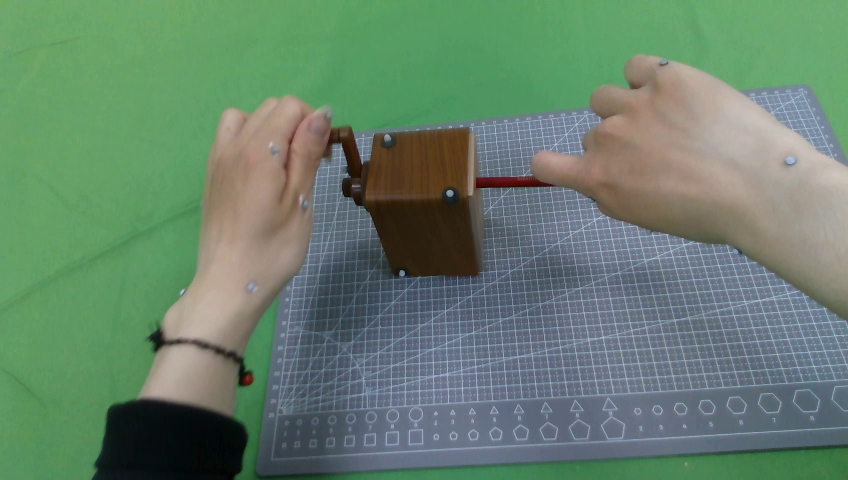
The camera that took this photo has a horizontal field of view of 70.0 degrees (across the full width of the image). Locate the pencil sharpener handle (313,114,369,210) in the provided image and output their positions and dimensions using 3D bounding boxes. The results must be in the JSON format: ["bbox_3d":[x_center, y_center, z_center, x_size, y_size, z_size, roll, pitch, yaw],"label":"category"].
[{"bbox_3d":[-0.054,-0.052,0.412,0.030,0.068,0.035,-1,31,9],"label":"pencil sharpener handle"}]

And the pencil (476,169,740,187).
[{"bbox_3d":[0.108,-0.040,0.401,0.194,0.012,0.012,0,58,5],"label":"pencil"}]

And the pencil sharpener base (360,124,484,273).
[{"bbox_3d":[0.002,-0.025,0.436,0.076,0.108,0.061,-1,58,9],"label":"pencil sharpener base"}]
